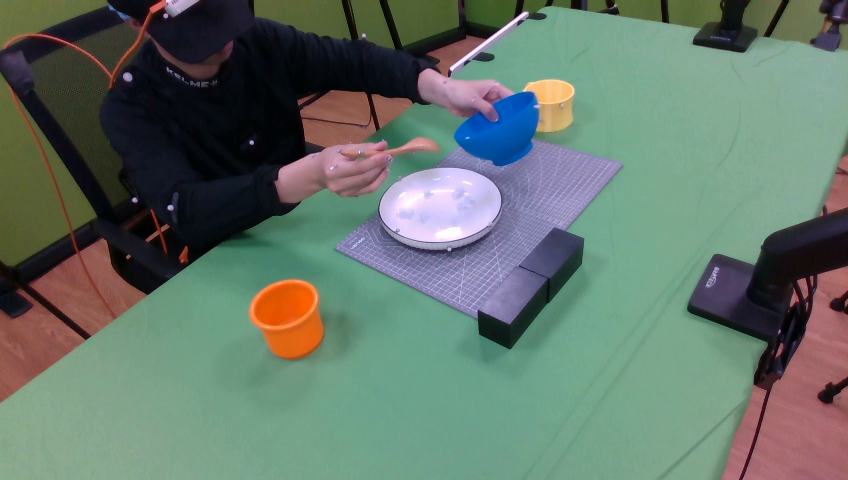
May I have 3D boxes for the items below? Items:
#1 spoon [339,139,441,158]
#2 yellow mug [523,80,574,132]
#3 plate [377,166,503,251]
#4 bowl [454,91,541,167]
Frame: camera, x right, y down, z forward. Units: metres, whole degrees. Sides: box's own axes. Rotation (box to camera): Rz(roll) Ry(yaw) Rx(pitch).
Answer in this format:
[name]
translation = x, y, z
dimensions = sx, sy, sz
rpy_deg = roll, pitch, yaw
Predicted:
[spoon]
translation = -0.046, -0.131, 0.894
dimensions = 0.195, 0.021, 0.041
rpy_deg = -16, 46, -42
[yellow mug]
translation = 0.242, -0.278, 1.224
dimensions = 0.100, 0.064, 0.129
rpy_deg = -24, 42, -18
[plate]
translation = 0.028, -0.050, 1.007
dimensions = 0.209, 0.038, 0.208
rpy_deg = -4, 41, 4
[bowl]
translation = 0.134, -0.175, 1.004
dimensions = 0.151, 0.077, 0.151
rpy_deg = -25, 23, 12
